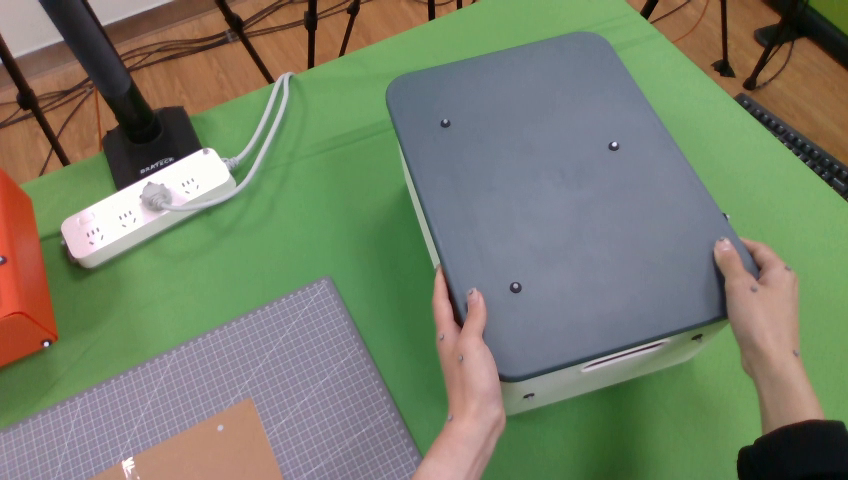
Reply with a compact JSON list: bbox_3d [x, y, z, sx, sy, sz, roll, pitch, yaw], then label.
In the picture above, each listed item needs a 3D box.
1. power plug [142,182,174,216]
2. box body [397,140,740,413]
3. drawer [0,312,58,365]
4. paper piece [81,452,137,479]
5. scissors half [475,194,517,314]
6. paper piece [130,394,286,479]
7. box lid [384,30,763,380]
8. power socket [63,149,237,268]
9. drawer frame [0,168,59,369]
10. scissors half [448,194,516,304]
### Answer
[{"bbox_3d":[-0.324,-0.040,0.743,0.035,0.053,0.072,-22,60,-10],"label":"power plug"},{"bbox_3d":[0.129,-0.023,0.658,0.254,0.162,0.360,-16,59,-6],"label":"box body"},{"bbox_3d":[-0.519,0.053,0.645,0.194,0.074,0.209,-25,60,-11],"label":"drawer"},{"bbox_3d":[-0.329,0.299,0.578,0.136,0.009,0.137,-27,62,-9],"label":"paper piece"},{"bbox_3d":[0.094,0.012,0.721,0.040,0.013,0.174,16,57,-1],"label":"scissors half"},{"bbox_3d":[-0.212,0.241,0.605,0.135,0.004,0.134,-25,61,-12],"label":"paper piece"},{"bbox_3d":[0.125,-0.060,0.594,0.263,0.015,0.367,-16,59,-6],"label":"box lid"},{"bbox_3d":[-0.347,-0.043,0.773,0.227,0.033,0.071,-31,63,-15],"label":"power socket"},{"bbox_3d":[-0.522,0.052,0.646,0.202,0.083,0.211,-25,60,-11],"label":"drawer frame"},{"bbox_3d":[0.075,0.005,0.724,0.040,0.013,0.174,28,58,13],"label":"scissors half"}]
